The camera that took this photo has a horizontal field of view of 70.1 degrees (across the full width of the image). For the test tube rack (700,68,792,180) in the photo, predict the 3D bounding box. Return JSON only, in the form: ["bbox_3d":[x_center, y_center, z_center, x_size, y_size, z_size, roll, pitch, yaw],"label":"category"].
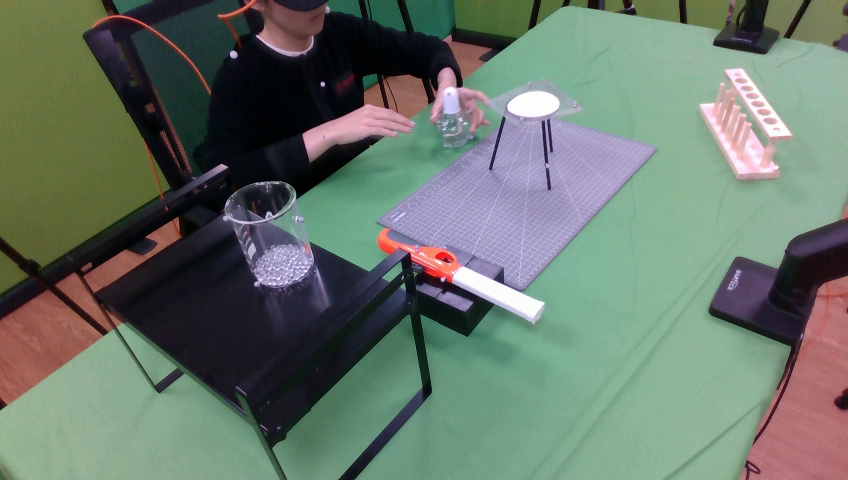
[{"bbox_3d":[0.572,-0.215,1.089,0.066,0.085,0.241,-3,41,7],"label":"test tube rack"}]

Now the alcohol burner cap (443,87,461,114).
[{"bbox_3d":[0.052,-0.264,1.136,0.034,0.048,0.033,-5,41,5],"label":"alcohol burner cap"}]

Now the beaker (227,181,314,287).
[{"bbox_3d":[-0.166,-0.006,0.670,0.074,0.101,0.083,-8,40,0],"label":"beaker"}]

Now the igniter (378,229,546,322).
[{"bbox_3d":[0.041,0.043,0.843,0.274,0.025,0.057,24,47,29],"label":"igniter"}]

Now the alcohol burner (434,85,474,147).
[{"bbox_3d":[0.055,-0.240,1.156,0.078,0.119,0.077,-5,40,5],"label":"alcohol burner"}]

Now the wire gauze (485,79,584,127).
[{"bbox_3d":[0.185,-0.232,1.023,0.125,0.011,0.120,-20,42,-12],"label":"wire gauze"}]

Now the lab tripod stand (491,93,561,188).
[{"bbox_3d":[0.189,-0.180,1.066,0.148,0.132,0.147,-5,42,5],"label":"lab tripod stand"}]
